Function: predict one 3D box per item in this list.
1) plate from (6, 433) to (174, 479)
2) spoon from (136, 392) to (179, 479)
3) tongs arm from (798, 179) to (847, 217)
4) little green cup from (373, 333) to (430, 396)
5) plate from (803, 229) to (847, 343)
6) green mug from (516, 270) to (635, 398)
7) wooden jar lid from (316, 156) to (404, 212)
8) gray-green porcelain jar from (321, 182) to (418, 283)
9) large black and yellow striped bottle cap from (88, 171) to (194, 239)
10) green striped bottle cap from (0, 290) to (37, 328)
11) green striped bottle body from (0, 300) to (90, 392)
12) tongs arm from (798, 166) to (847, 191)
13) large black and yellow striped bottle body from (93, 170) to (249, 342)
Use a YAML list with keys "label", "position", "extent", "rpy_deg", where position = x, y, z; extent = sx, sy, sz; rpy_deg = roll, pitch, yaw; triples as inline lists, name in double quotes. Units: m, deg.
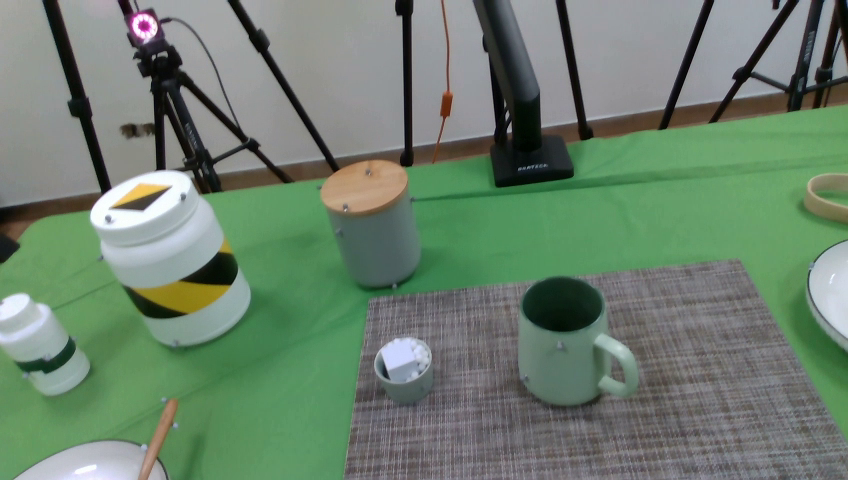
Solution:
- label: "plate"
  position: [-0.324, 0.275, 0.549]
  extent: [0.209, 0.038, 0.207]
  rpy_deg: [-7, 38, 6]
- label: "spoon"
  position: [-0.263, 0.226, 0.569]
  extent: [0.041, 0.022, 0.192]
  rpy_deg: [-5, 47, 7]
- label: "tongs arm"
  position: [0.620, -0.004, 0.660]
  extent: [0.384, 0.028, 0.028]
  rpy_deg: [21, 57, 35]
- label: "little green cup"
  position: [-0.022, 0.133, 0.641]
  extent: [0.061, 0.039, 0.061]
  rpy_deg: [-6, 38, 5]
- label: "plate"
  position: [0.495, 0.060, 0.605]
  extent: [0.207, 0.039, 0.205]
  rpy_deg: [-7, 38, 6]
- label: "green mug"
  position: [0.147, 0.099, 0.586]
  extent: [0.092, 0.106, 0.124]
  rpy_deg: [-37, 44, -28]
- label: "wooden jar lid"
  position: [-0.076, -0.065, 0.737]
  extent: [0.108, 0.021, 0.107]
  rpy_deg: [-7, 41, 6]
- label: "gray-green porcelain jar"
  position: [-0.066, -0.017, 0.775]
  extent: [0.106, 0.128, 0.105]
  rpy_deg: [-7, 39, 6]
- label: "large black and yellow striped bottle cap"
  position: [-0.322, -0.043, 0.690]
  extent: [0.115, 0.019, 0.114]
  rpy_deg: [-7, 37, 6]
- label: "green striped bottle cap"
  position: [-0.462, 0.078, 0.680]
  extent: [0.044, 0.020, 0.044]
  rpy_deg: [-5, 40, 4]
- label: "green striped bottle body"
  position: [-0.453, 0.118, 0.711]
  extent: [0.063, 0.120, 0.062]
  rpy_deg: [-7, 38, 6]
- label: "tongs arm"
  position: [0.660, -0.054, 0.705]
  extent: [0.382, 0.027, 0.050]
  rpy_deg: [10, 48, 27]
- label: "large black and yellow striped bottle body"
  position: [-0.307, 0.020, 0.743]
  extent: [0.130, 0.186, 0.129]
  rpy_deg: [-7, 39, 6]
